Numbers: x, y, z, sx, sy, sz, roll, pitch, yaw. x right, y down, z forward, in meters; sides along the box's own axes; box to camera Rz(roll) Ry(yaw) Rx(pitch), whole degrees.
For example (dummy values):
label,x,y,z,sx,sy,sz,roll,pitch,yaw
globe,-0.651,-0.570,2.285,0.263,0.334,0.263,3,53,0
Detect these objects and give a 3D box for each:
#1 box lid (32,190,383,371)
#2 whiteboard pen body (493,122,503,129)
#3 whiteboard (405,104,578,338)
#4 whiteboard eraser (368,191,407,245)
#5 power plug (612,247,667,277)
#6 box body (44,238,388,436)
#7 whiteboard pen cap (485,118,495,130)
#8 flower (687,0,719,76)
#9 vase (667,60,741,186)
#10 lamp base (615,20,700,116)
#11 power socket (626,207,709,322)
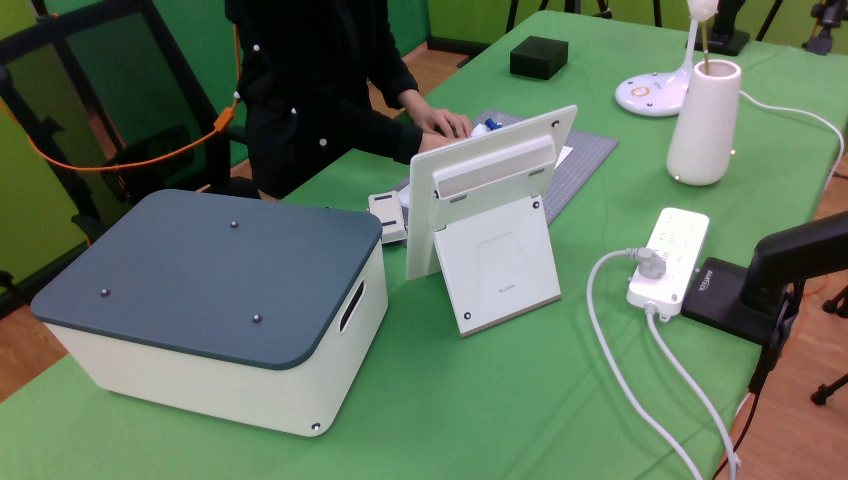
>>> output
label,x,y,z,sx,sy,sz,roll,pitch,yaw
box lid,-0.257,0.032,0.750,0.370,0.015,0.263,7,42,16
whiteboard pen body,0.140,-0.146,1.034,0.017,0.142,0.017,-10,50,13
whiteboard,0.102,0.003,0.787,0.218,0.306,0.143,-19,62,-13
whiteboard eraser,-0.061,-0.035,1.006,0.056,0.042,0.112,-9,40,-4
power plug,0.306,0.031,0.852,0.072,0.053,0.035,21,48,37
box body,-0.251,0.088,0.799,0.362,0.161,0.254,7,42,16
whiteboard pen cap,0.138,-0.232,1.229,0.018,0.018,0.033,-16,43,-11
flower,0.436,-0.242,0.934,0.038,0.364,0.043,-24,49,8
vase,0.463,-0.189,0.994,0.098,0.201,0.097,-4,40,4
lamp base,0.484,-0.364,1.211,0.180,0.181,0.159,-15,41,-14
power socket,0.360,0.026,0.886,0.072,0.033,0.227,17,46,27
